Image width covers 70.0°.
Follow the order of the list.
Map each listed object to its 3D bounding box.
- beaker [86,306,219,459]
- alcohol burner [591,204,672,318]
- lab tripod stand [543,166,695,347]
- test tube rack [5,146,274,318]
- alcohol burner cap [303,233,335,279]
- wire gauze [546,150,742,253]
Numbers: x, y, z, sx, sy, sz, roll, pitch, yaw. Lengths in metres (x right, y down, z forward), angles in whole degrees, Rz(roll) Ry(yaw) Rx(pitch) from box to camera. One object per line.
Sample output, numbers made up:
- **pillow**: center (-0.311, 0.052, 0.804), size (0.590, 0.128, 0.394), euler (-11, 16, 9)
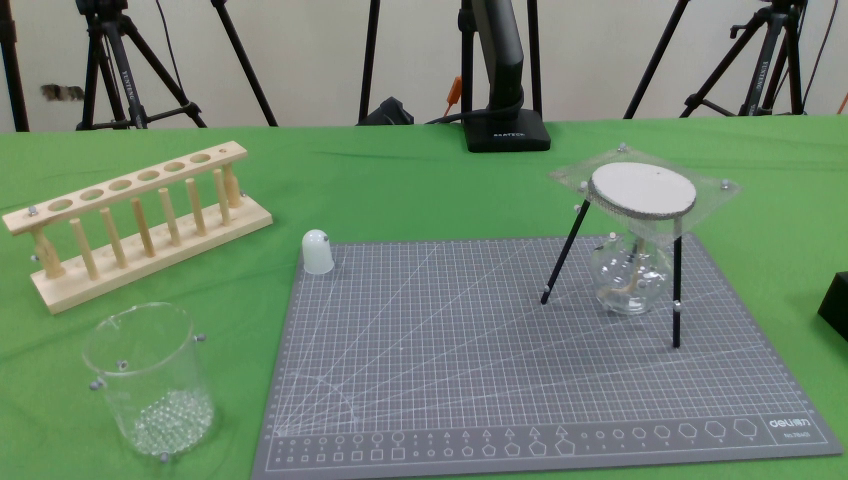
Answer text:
- **beaker**: center (-0.202, 0.110, 0.460), size (0.083, 0.101, 0.074), euler (24, 42, 31)
- **alcohol burner**: center (0.200, 0.015, 0.573), size (0.078, 0.120, 0.077), euler (0, 38, 0)
- **lab tripod stand**: center (0.193, 0.011, 0.562), size (0.148, 0.132, 0.147), euler (1, 35, -1)
- **test tube rack**: center (-0.291, -0.017, 0.652), size (0.242, 0.086, 0.066), euler (-27, 43, -32)
- **alcohol burner cap**: center (-0.112, 0.014, 0.639), size (0.034, 0.048, 0.033), euler (0, 36, 0)
- **wire gauze**: center (0.188, -0.043, 0.522), size (0.121, 0.011, 0.124), euler (-24, 44, -31)
